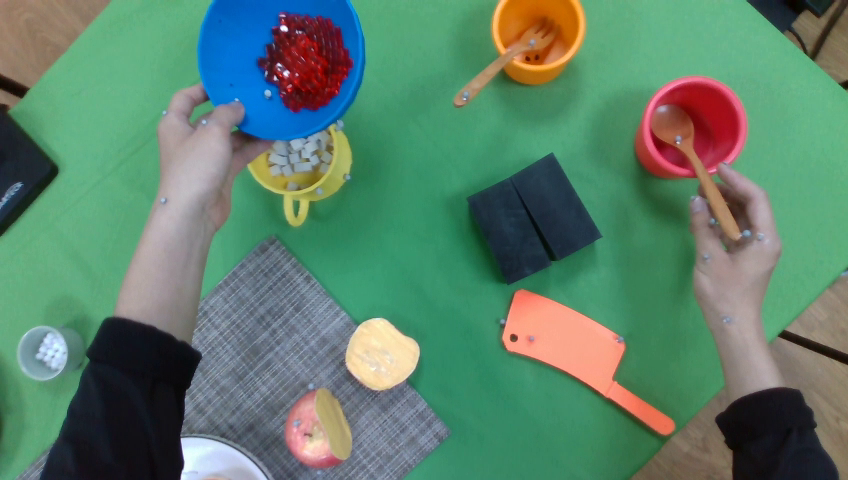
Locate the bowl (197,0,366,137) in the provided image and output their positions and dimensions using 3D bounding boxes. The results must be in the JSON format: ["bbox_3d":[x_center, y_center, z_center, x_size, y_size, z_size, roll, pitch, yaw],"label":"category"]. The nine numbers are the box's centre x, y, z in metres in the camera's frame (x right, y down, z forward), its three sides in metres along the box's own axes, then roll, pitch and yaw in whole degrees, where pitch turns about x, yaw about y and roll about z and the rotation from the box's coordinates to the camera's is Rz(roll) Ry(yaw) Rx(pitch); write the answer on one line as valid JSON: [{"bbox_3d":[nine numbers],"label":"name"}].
[{"bbox_3d":[-0.117,-0.165,0.551,0.151,0.077,0.151,1,94,10],"label":"bowl"}]

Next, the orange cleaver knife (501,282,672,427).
[{"bbox_3d":[0.178,0.121,0.649,0.211,0.012,0.077,31,87,7],"label":"orange cleaver knife"}]

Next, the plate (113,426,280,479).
[{"bbox_3d":[-0.248,0.309,0.676,0.209,0.038,0.209,0,89,6],"label":"plate"}]

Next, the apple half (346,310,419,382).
[{"bbox_3d":[-0.049,0.121,0.659,0.081,0.033,0.080,6,58,-9],"label":"apple half"}]

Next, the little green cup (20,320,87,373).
[{"bbox_3d":[-0.427,0.121,0.702,0.061,0.039,0.061,0,89,6],"label":"little green cup"}]

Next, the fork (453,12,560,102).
[{"bbox_3d":[0.085,-0.184,0.599,0.028,0.019,0.207,39,49,6],"label":"fork"}]

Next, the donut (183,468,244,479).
[{"bbox_3d":[-0.232,0.300,0.664,0.099,0.048,0.099,0,91,5],"label":"donut"}]

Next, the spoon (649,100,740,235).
[{"bbox_3d":[0.259,-0.076,0.582,0.041,0.191,0.022,-7,133,4],"label":"spoon"}]

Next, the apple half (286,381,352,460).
[{"bbox_3d":[-0.117,0.196,0.647,0.053,0.074,0.081,-25,90,9],"label":"apple half"}]

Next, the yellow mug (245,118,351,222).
[{"bbox_3d":[-0.137,-0.085,0.661,0.100,0.064,0.131,3,90,5],"label":"yellow mug"}]
